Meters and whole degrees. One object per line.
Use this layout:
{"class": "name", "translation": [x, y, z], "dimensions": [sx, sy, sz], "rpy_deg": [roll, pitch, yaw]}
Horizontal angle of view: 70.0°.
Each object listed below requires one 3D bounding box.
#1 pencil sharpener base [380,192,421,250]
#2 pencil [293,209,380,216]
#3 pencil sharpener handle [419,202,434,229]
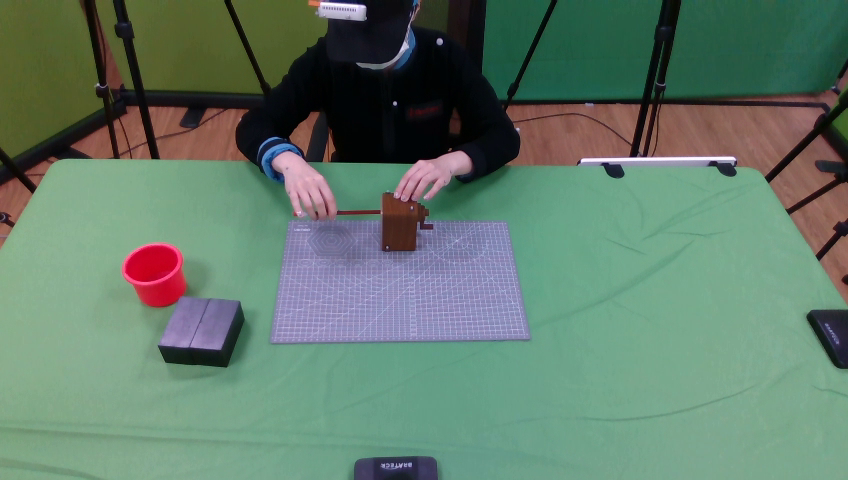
{"class": "pencil sharpener base", "translation": [-0.046, -0.035, 1.163], "dimensions": [0.077, 0.107, 0.061], "rpy_deg": [0, 46, -4]}
{"class": "pencil", "translation": [-0.149, -0.053, 1.140], "dimensions": [0.194, 0.012, 0.012], "rpy_deg": [-2, 46, -2]}
{"class": "pencil sharpener handle", "translation": [0.006, -0.045, 1.160], "dimensions": [0.031, 0.068, 0.036], "rpy_deg": [0, 52, -4]}
